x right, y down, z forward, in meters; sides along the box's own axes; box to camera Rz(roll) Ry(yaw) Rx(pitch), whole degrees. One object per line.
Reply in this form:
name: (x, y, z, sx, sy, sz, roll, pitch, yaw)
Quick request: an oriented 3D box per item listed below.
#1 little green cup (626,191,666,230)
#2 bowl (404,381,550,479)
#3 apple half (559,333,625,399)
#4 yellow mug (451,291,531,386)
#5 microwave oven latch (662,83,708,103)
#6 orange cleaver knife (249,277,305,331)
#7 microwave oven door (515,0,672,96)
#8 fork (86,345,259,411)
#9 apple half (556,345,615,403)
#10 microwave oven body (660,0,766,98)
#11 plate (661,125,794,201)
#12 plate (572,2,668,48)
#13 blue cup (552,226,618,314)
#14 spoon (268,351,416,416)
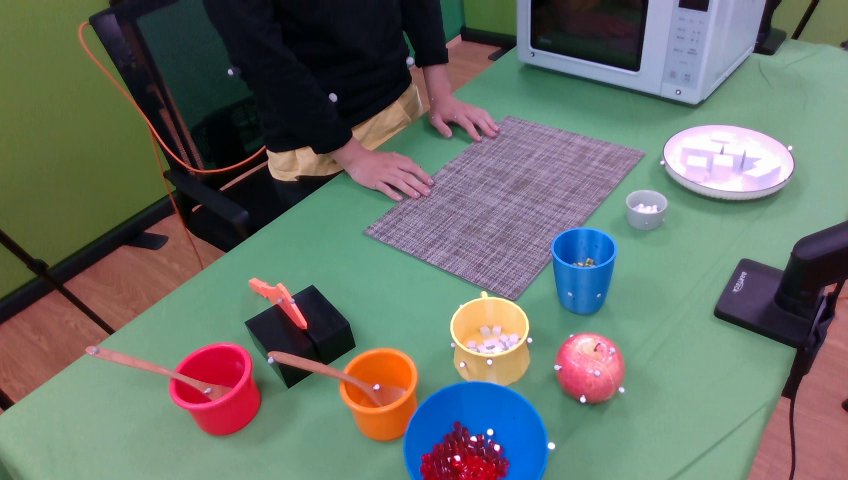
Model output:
little green cup: (0.352, -0.046, 0.963, 0.061, 0.039, 0.061, -4, 40, 4)
bowl: (0.058, 0.235, 0.645, 0.151, 0.077, 0.150, -4, 39, 4)
apple half: (0.209, 0.147, 0.730, 0.080, 0.075, 0.053, 26, 47, 38)
yellow mug: (0.085, 0.120, 0.786, 0.100, 0.064, 0.130, -7, 39, 1)
microwave oven latch: (0.518, -0.296, 1.204, 0.078, 0.029, 0.030, 27, 52, 35)
orange cleaver knife: (-0.210, 0.088, 0.855, 0.012, 0.077, 0.210, -28, 15, -25)
microwave oven door: (0.344, -0.455, 1.259, 0.353, 0.245, 0.039, 26, 51, 33)
fork: (-0.298, 0.166, 0.728, 0.209, 0.018, 0.028, 28, 46, -23)
apple half: (0.181, 0.167, 0.709, 0.080, 0.081, 0.033, 29, 50, 35)
microwave oven body: (0.472, -0.513, 1.317, 0.438, 0.261, 0.327, 26, 51, 34)
plate: (0.514, -0.128, 1.035, 0.207, 0.039, 0.206, -4, 40, 4)
plate: (0.441, -0.483, 1.366, 0.209, 0.038, 0.208, -4, 41, 4)
blue cup: (0.218, 0.047, 0.826, 0.092, 0.101, 0.092, -6, 40, 5)
spoon: (-0.090, 0.162, 0.699, 0.021, 0.195, 0.041, -44, 31, 27)
